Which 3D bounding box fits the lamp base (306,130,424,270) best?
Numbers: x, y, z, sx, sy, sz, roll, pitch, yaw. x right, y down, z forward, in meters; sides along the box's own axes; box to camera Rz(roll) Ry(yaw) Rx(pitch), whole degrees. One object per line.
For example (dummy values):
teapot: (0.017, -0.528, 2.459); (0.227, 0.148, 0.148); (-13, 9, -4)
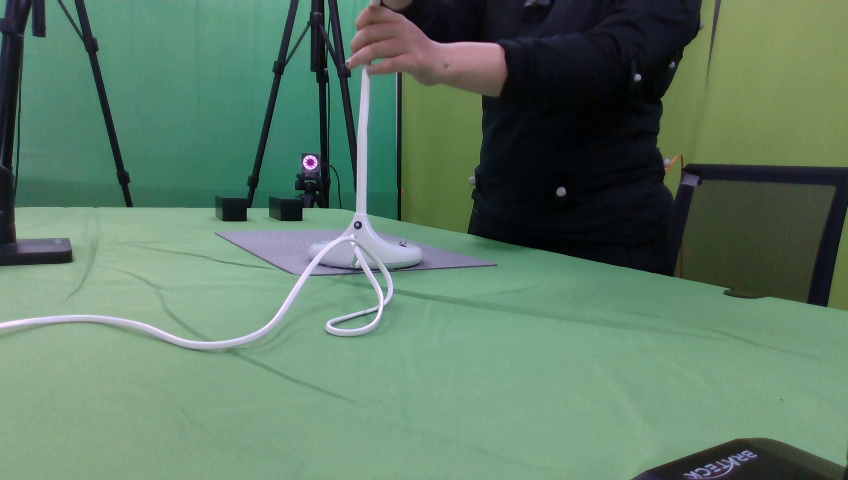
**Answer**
lamp base: (-0.077, -0.057, 0.811); (0.161, 0.180, 0.179); (2, 10, -4)
